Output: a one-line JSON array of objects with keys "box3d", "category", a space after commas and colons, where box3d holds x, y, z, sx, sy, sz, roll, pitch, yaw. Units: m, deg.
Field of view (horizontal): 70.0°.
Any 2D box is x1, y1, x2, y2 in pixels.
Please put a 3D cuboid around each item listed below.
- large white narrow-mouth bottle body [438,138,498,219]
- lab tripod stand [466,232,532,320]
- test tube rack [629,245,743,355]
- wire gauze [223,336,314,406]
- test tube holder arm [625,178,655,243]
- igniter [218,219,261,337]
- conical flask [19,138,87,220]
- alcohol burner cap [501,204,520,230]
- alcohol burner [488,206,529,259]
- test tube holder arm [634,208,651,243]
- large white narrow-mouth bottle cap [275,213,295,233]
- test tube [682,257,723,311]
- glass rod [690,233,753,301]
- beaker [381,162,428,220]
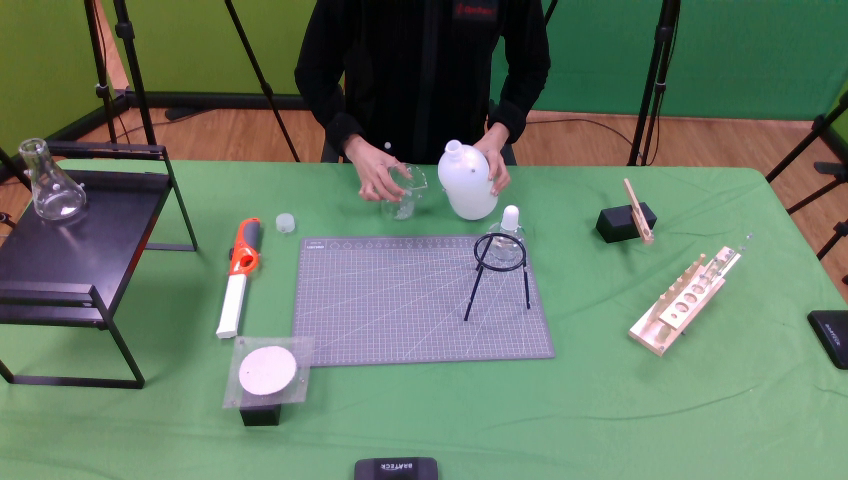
[{"box3d": [0.082, -0.128, 1.190, 0.102, 0.196, 0.101, -8, 58, 14], "category": "large white narrow-mouth bottle body"}, {"box3d": [0.125, 0.059, 1.065, 0.148, 0.132, 0.147, 1, 45, 0], "category": "lab tripod stand"}, {"box3d": [0.474, 0.095, 1.091, 0.242, 0.085, 0.066, -34, 56, -31], "category": "test tube rack"}, {"box3d": [-0.237, 0.197, 0.931, 0.121, 0.011, 0.124, 1, 45, -4], "category": "wire gauze"}, {"box3d": [0.433, -0.062, 1.220, 0.013, 0.015, 0.177, 1, 47, -3], "category": "test tube holder arm"}, {"box3d": [-0.336, 0.060, 1.111, 0.057, 0.025, 0.274, -8, 46, 4], "category": "igniter"}, {"box3d": [-0.576, -0.097, 0.930, 0.075, 0.122, 0.075, 2, 46, -2], "category": "conical flask"}, {"box3d": [0.164, -0.046, 1.133, 0.034, 0.048, 0.033, 2, 40, -2], "category": "alcohol burner cap"}, {"box3d": [0.163, -0.020, 1.158, 0.078, 0.120, 0.077, 0, 47, 0], "category": "alcohol burner"}, {"box3d": [0.428, -0.030, 1.189, 0.010, 0.015, 0.087, 1, 47, -2], "category": "test tube holder arm"}, {"box3d": [-0.277, -0.034, 1.213, 0.038, 0.024, 0.037, 3, 46, -3], "category": "large white narrow-mouth bottle cap"}, {"box3d": [0.475, 0.080, 1.037, 0.017, 0.151, 0.017, 1, 51, -1], "category": "test tube"}, {"box3d": [0.507, 0.053, 1.041, 0.008, 0.200, 0.008, 5, 51, -6], "category": "glass rod"}, {"box3d": [-0.042, -0.095, 1.222, 0.084, 0.100, 0.073, 24, 48, 2], "category": "beaker"}]
